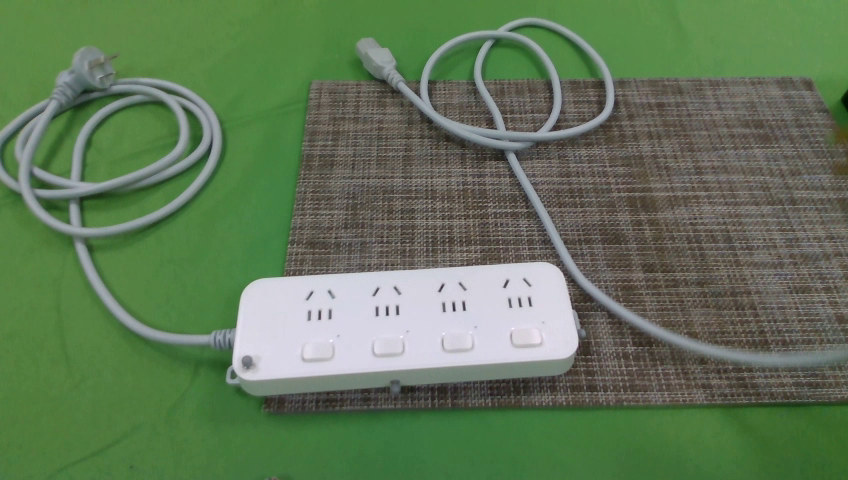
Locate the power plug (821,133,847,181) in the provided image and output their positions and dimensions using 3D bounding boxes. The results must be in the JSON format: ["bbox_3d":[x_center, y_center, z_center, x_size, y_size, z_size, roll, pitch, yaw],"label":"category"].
[{"bbox_3d":[0.215,-0.023,0.278,0.035,0.052,0.073,-20,99,-23],"label":"power plug"}]

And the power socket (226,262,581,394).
[{"bbox_3d":[-0.011,0.055,0.386,0.227,0.033,0.071,-3,55,-2],"label":"power socket"}]
